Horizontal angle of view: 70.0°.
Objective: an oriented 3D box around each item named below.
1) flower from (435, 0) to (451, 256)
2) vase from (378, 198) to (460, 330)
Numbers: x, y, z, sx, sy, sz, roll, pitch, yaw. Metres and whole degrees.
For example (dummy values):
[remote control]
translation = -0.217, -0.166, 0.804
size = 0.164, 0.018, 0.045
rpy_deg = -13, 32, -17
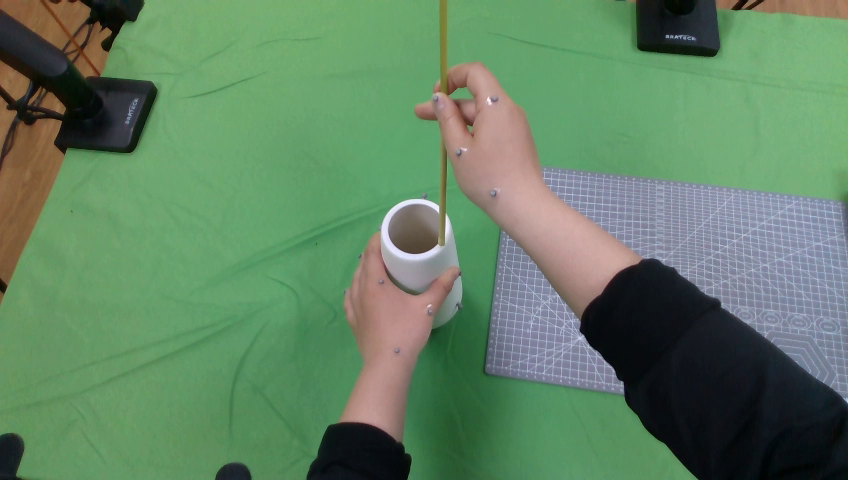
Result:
[flower]
translation = 0.014, -0.133, 0.457
size = 0.038, 0.365, 0.043
rpy_deg = -6, 36, -3
[vase]
translation = -0.005, 0.031, 0.677
size = 0.098, 0.201, 0.097
rpy_deg = 0, 65, 0
